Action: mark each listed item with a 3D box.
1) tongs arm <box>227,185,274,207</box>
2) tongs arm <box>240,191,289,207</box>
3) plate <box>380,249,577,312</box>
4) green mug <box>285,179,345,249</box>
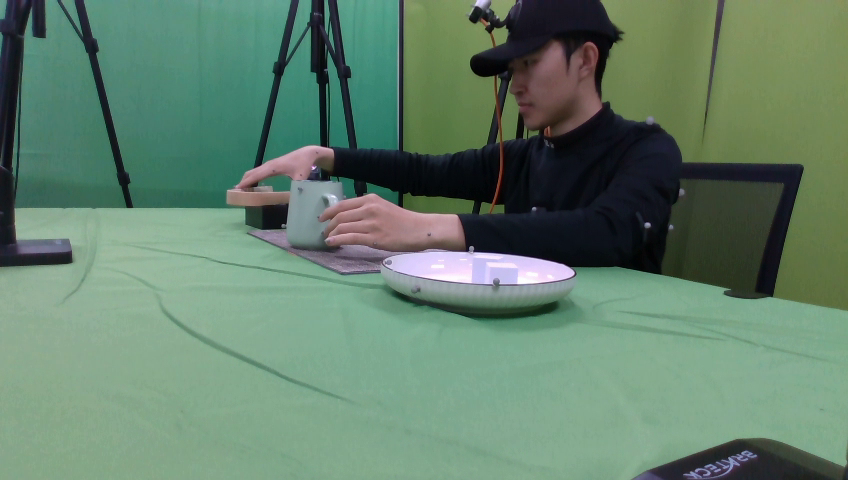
[{"bbox_3d":[-0.355,-0.098,1.296,0.051,0.026,0.384,5,7,1],"label":"tongs arm"},{"bbox_3d":[-0.279,-0.094,1.290,0.028,0.028,0.388,10,9,12],"label":"tongs arm"},{"bbox_3d":[0.056,0.042,0.646,0.209,0.038,0.209,2,7,0],"label":"plate"},{"bbox_3d":[-0.161,-0.040,0.936,0.093,0.105,0.124,-2,8,-32],"label":"green mug"}]
